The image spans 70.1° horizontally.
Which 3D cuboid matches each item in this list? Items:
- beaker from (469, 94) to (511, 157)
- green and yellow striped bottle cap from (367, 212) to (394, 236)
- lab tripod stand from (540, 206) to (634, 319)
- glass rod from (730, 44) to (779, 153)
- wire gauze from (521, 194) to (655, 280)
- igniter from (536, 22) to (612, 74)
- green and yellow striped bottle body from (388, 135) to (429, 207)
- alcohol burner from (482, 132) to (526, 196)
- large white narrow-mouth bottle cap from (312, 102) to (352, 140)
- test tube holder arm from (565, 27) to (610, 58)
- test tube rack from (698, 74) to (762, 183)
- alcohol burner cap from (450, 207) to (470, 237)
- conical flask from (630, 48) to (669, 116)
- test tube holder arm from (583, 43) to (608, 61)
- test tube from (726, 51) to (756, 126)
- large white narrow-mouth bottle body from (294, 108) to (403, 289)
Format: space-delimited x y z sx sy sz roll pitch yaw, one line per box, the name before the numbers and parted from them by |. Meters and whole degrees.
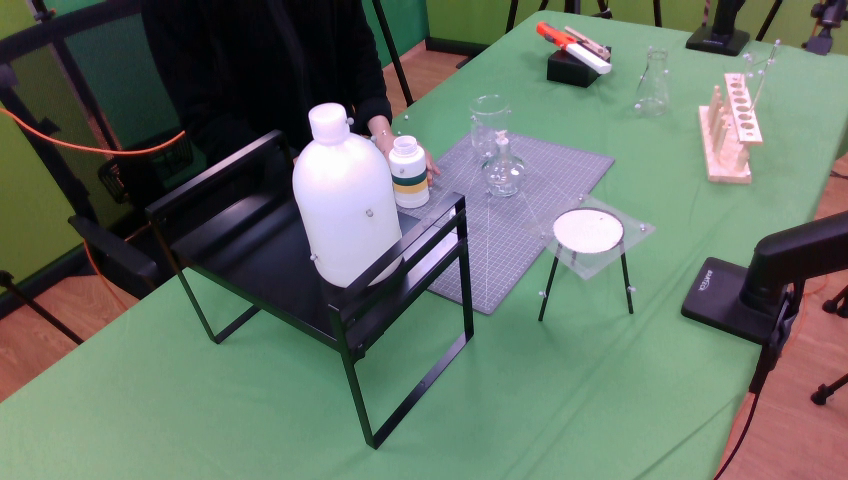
beaker | 0.124 -0.216 1.148 0.074 0.101 0.083 -21 42 -16
green and yellow striped bottle cap | -0.073 -0.028 1.021 0.045 0.020 0.045 -4 39 4
lab tripod stand | 0.218 0.034 0.821 0.148 0.132 0.147 -4 42 4
glass rod | 0.555 -0.233 1.020 0.008 0.200 0.008 2 39 -1
wire gauze | 0.207 -0.012 0.772 0.122 0.011 0.124 -28 44 -20
igniter | 0.330 -0.439 1.366 0.057 0.025 0.274 -11 41 -20
green and yellow striped bottle body | -0.027 -0.121 1.041 0.063 0.120 0.063 -4 41 4
alcohol burner | 0.137 -0.136 1.042 0.078 0.119 0.077 -4 43 4
large white narrow-mouth bottle cap | -0.088 -0.114 0.579 0.038 0.024 0.037 -3 39 3
test tube holder arm | 0.369 -0.450 1.373 0.013 0.015 0.177 -39 41 10
test tube rack | 0.547 -0.208 1.095 0.066 0.085 0.242 5 42 15
alcohol burner cap | 0.057 -0.032 0.987 0.034 0.048 0.033 -4 41 4
conical flask | 0.456 -0.317 1.205 0.075 0.122 0.075 -4 41 4
test tube holder arm | 0.379 -0.420 1.341 0.010 0.015 0.087 -39 41 10
test tube | 0.568 -0.268 1.086 0.017 0.151 0.017 -4 46 4
large white narrow-mouth bottle body | -0.082 -0.047 0.634 0.102 0.195 0.101 -4 39 3
